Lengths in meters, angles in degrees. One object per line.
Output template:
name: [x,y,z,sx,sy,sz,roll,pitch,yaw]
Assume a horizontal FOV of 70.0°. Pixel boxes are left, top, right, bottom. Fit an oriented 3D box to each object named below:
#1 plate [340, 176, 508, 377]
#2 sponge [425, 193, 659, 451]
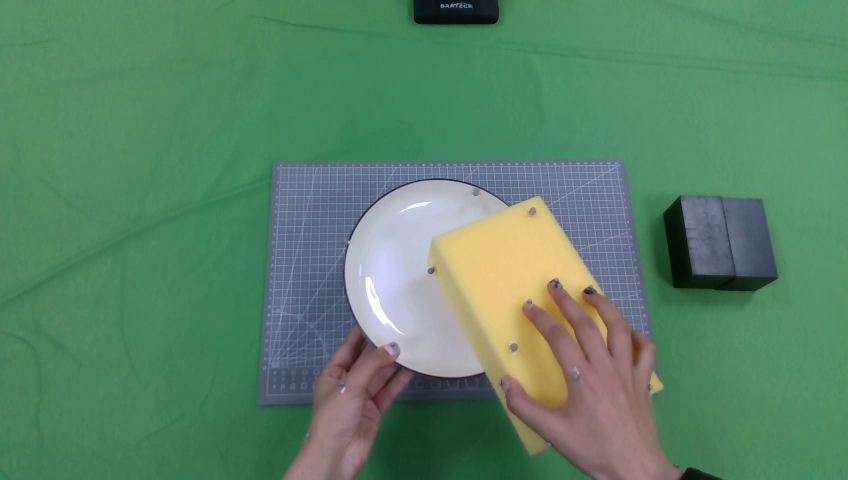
plate: [0.018,0.036,0.617,0.210,0.038,0.208,4,72,-10]
sponge: [0.100,0.070,0.558,0.118,0.061,0.205,-23,69,-16]
